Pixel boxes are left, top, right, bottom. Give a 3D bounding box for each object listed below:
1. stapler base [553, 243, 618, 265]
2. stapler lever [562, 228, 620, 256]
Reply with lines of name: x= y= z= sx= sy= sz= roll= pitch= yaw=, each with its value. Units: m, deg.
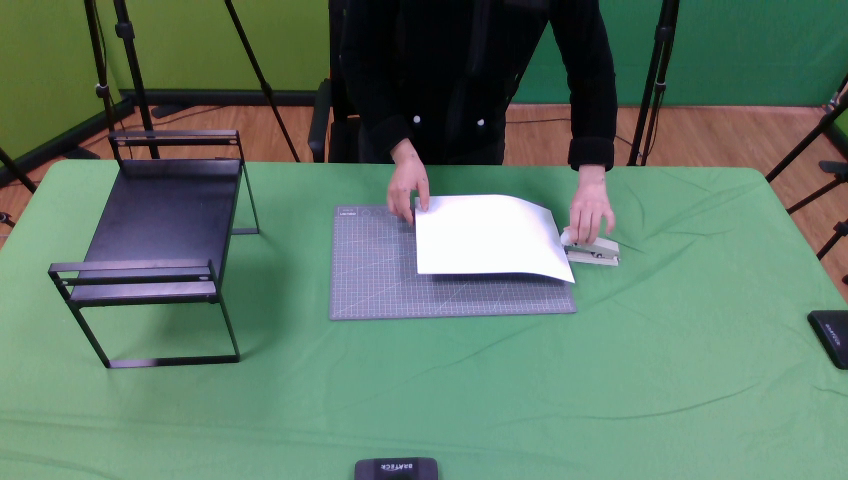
stapler base: x=0.321 y=0.022 z=1.197 sx=0.130 sy=0.024 sz=0.041 roll=7 pitch=49 yaw=-2
stapler lever: x=0.325 y=0.004 z=1.177 sx=0.118 sy=0.040 sz=0.026 roll=8 pitch=49 yaw=-3
